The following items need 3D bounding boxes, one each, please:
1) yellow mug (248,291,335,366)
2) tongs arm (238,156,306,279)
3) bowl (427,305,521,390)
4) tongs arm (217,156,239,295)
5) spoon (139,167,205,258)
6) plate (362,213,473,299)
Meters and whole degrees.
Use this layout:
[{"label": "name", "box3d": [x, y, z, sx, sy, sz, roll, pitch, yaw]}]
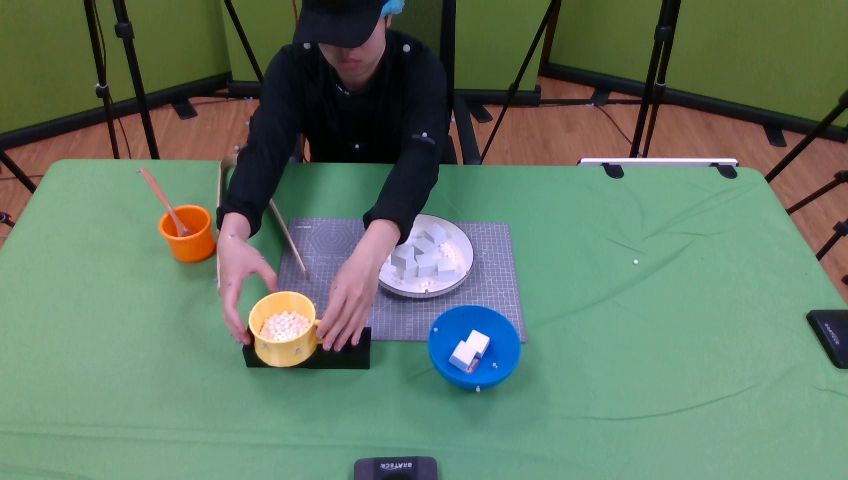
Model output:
[{"label": "yellow mug", "box3d": [-0.204, 0.139, 0.948, 0.131, 0.064, 0.099, 6, 45, -1]}, {"label": "tongs arm", "box3d": [-0.309, -0.057, 1.224, 0.028, 0.028, 0.385, -22, 50, -18]}, {"label": "bowl", "box3d": [0.076, 0.188, 0.985, 0.151, 0.077, 0.150, 3, 46, -3]}, {"label": "tongs arm", "box3d": [-0.386, -0.042, 1.202, 0.051, 0.026, 0.382, -9, 45, -11]}, {"label": "spoon", "box3d": [-0.467, -0.051, 1.122, 0.041, 0.194, 0.021, -35, 13, -31]}, {"label": "plate", "box3d": [-0.013, 0.033, 1.149, 0.208, 0.039, 0.206, 2, 47, -2]}]
